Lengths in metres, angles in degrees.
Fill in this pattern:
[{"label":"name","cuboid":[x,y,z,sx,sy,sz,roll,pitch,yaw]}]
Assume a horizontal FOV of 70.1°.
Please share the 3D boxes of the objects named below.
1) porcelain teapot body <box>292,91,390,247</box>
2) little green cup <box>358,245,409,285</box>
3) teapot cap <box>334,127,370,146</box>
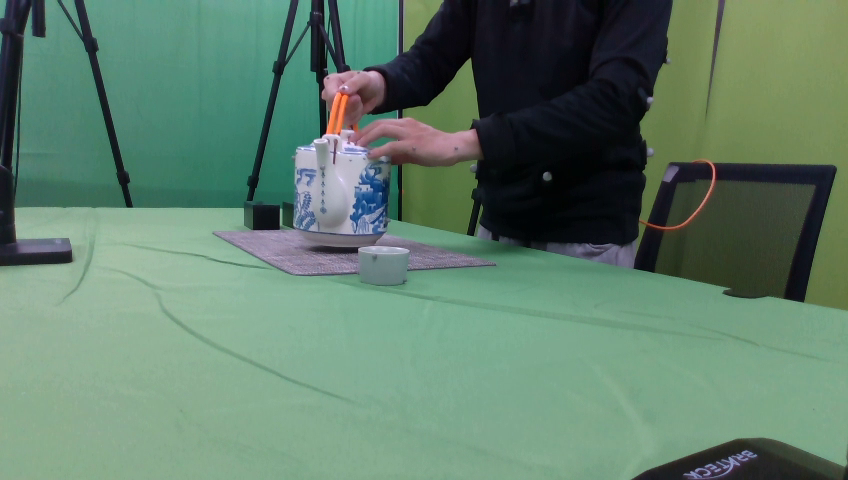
[{"label":"porcelain teapot body","cuboid":[-0.126,-0.105,0.891,0.145,0.225,0.205,5,10,4]},{"label":"little green cup","cuboid":[-0.048,0.029,0.707,0.061,0.038,0.061,2,9,0]},{"label":"teapot cap","cuboid":[-0.123,-0.149,0.914,0.085,0.044,0.085,3,11,0]}]
